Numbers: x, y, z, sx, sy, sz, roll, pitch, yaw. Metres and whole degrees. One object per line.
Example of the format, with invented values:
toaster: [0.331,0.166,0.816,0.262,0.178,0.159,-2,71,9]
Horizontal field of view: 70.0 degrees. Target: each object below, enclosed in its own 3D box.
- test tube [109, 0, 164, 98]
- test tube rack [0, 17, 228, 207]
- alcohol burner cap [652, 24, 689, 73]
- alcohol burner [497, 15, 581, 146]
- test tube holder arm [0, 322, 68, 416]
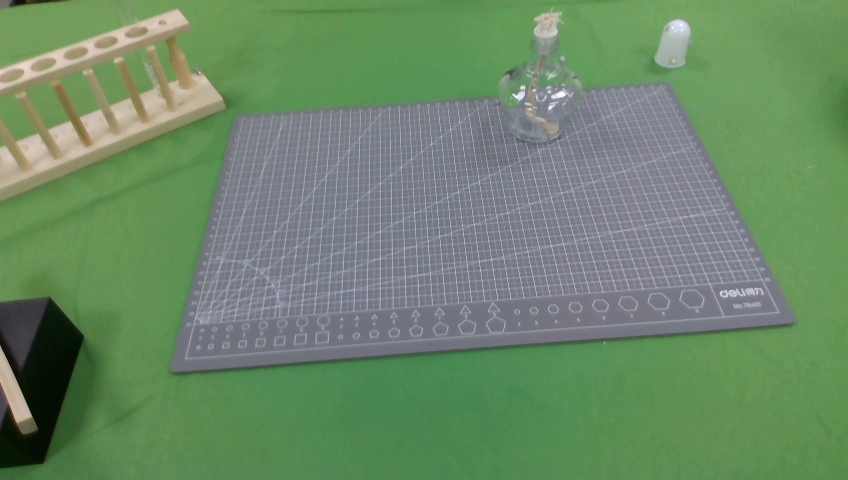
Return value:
test tube: [-0.283,-0.204,0.588,0.017,0.152,0.017,-4,46,5]
test tube rack: [-0.328,-0.126,0.589,0.242,0.086,0.066,-29,52,-20]
alcohol burner cap: [0.265,-0.205,0.644,0.034,0.048,0.033,-3,48,4]
alcohol burner: [0.106,-0.147,0.552,0.078,0.120,0.077,-2,47,2]
test tube holder arm: [-0.284,0.060,0.400,0.177,0.015,0.013,29,59,28]
